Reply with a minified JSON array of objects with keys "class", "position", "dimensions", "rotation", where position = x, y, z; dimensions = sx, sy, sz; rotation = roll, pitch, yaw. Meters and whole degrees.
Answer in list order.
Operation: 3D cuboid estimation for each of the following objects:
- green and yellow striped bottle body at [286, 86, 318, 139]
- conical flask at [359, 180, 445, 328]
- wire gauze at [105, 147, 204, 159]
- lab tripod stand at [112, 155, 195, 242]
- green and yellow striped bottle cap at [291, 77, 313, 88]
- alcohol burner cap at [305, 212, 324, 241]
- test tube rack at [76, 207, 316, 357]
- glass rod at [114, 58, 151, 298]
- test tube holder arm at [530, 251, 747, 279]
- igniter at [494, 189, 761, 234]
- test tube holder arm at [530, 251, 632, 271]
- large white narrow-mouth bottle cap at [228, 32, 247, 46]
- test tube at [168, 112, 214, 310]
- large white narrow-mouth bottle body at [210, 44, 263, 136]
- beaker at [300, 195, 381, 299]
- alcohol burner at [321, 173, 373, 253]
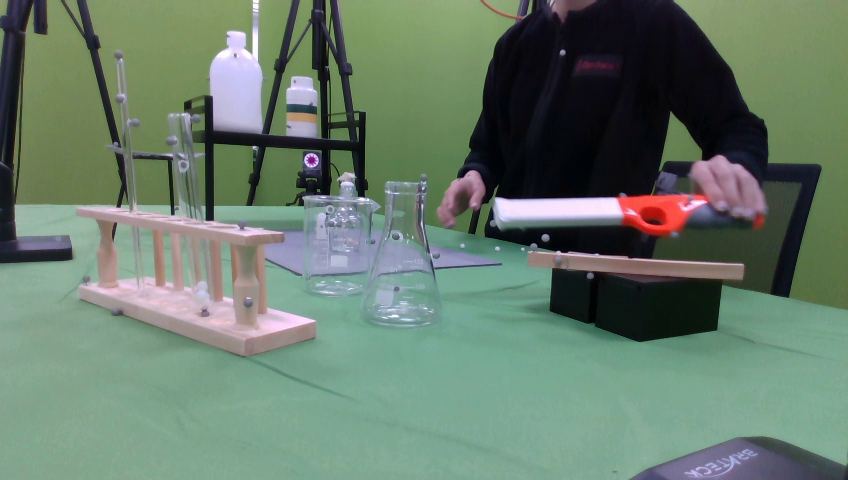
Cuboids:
[{"class":"green and yellow striped bottle body","position":[-0.251,-0.270,1.245],"dimensions":[0.063,0.119,0.063],"rotation":[2,7,0]},{"class":"conical flask","position":[-0.017,0.010,0.522],"dimensions":[0.075,0.122,0.075],"rotation":[2,7,0]},{"class":"wire gauze","position":[-0.407,-0.131,0.928],"dimensions":[0.125,0.011,0.121],"rotation":[2,6,-11]},{"class":"lab tripod stand","position":[-0.405,-0.064,0.931],"dimensions":[0.148,0.131,0.148],"rotation":[1,6,0]},{"class":"green and yellow striped bottle cap","position":[-0.250,-0.321,1.238],"dimensions":[0.045,0.020,0.045],"rotation":[3,6,0]},{"class":"alcohol burner cap","position":[-0.185,-0.023,1.027],"dimensions":[0.034,0.048,0.034],"rotation":[2,7,0]},{"class":"test tube rack","position":[-0.196,0.023,0.500],"dimensions":[0.241,0.085,0.067],"rotation":[8,9,36]},{"class":"glass rod","position":[-0.236,-0.044,0.492],"dimensions":[0.008,0.199,0.008],"rotation":[0,15,0]},{"class":"test tube holder arm","position":[0.182,0.022,0.523],"dimensions":[0.178,0.015,0.013],"rotation":[3,7,12]},{"class":"igniter","position":[0.211,-0.029,0.626],"dimensions":[0.277,0.025,0.057],"rotation":[0,51,-5]},{"class":"test tube holder arm","position":[0.139,0.019,0.538],"dimensions":[0.087,0.015,0.010],"rotation":[3,7,13]},{"class":"large white narrow-mouth bottle cap","position":[-0.364,-0.391,1.180],"dimensions":[0.038,0.024,0.037],"rotation":[3,8,0]},{"class":"test tube","position":[-0.175,-0.020,0.455],"dimensions":[0.017,0.150,0.017],"rotation":[-4,9,1]},{"class":"large white narrow-mouth bottle body","position":[-0.369,-0.306,1.194],"dimensions":[0.102,0.194,0.102],"rotation":[3,8,0]},{"class":"beaker","position":[-0.087,0.006,0.626],"dimensions":[0.084,0.100,0.074],"rotation":[1,8,-17]},{"class":"alcohol burner","position":[-0.115,-0.041,0.905],"dimensions":[0.078,0.119,0.078],"rotation":[1,6,0]}]
